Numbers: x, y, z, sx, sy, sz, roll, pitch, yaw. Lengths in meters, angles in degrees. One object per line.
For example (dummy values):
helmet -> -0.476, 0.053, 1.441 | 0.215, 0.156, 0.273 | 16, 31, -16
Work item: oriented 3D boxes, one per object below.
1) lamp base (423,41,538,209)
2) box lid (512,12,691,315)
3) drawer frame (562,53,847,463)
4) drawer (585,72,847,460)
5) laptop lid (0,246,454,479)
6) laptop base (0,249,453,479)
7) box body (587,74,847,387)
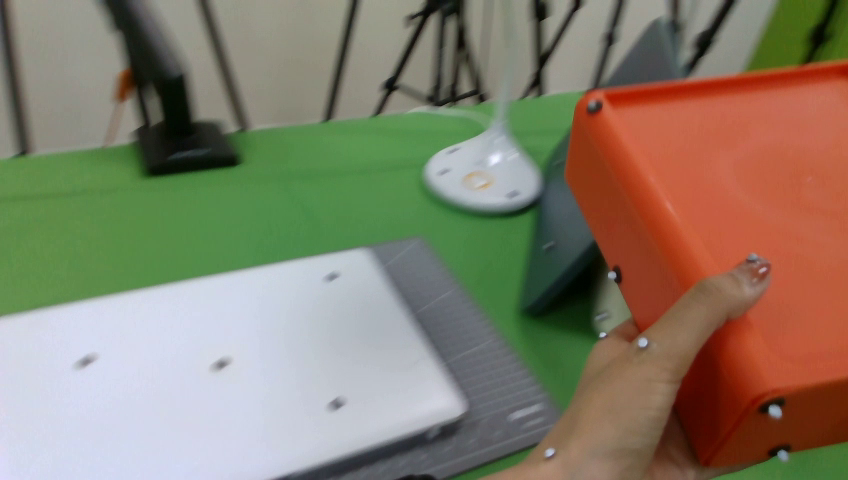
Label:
lamp base -> 0.088, -0.159, 0.796 | 0.160, 0.181, 0.178 | 13, 35, 7
box lid -> 0.197, -0.098, 0.683 | 0.015, 0.264, 0.369 | 31, 38, -6
drawer frame -> 0.206, -0.006, 0.334 | 0.202, 0.083, 0.211 | -9, 47, -5
drawer -> 0.209, -0.003, 0.334 | 0.195, 0.074, 0.209 | -9, 47, -4
laptop lid -> -0.177, 0.108, 0.509 | 0.358, 0.013, 0.239 | -10, 43, -23
laptop base -> -0.179, 0.116, 0.518 | 0.355, 0.023, 0.233 | -11, 45, -24
box body -> 0.325, -0.031, 0.686 | 0.254, 0.161, 0.361 | 13, 37, 7
